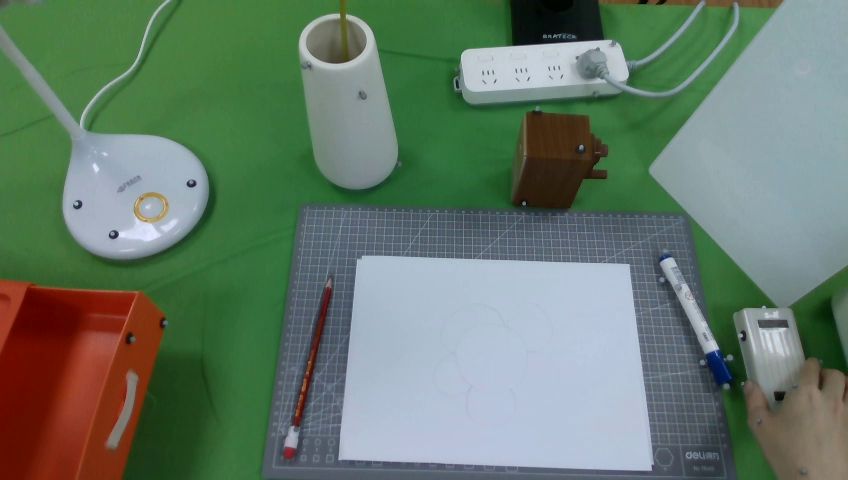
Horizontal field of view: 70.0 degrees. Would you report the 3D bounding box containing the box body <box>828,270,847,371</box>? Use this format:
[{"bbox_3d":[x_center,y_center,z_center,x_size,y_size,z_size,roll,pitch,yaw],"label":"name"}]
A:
[{"bbox_3d":[0.547,0.166,0.522,0.254,0.161,0.361,1,64,0],"label":"box body"}]

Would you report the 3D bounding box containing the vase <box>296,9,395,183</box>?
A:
[{"bbox_3d":[-0.084,-0.145,0.642,0.098,0.201,0.097,0,63,1],"label":"vase"}]

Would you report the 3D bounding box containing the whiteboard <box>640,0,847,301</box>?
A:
[{"bbox_3d":[0.416,-0.118,0.612,0.144,0.307,0.215,-21,64,-31],"label":"whiteboard"}]

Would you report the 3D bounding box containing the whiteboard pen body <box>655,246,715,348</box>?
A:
[{"bbox_3d":[0.280,0.070,0.640,0.017,0.017,0.139,-14,65,-7],"label":"whiteboard pen body"}]

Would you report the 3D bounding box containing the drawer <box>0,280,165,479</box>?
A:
[{"bbox_3d":[-0.359,0.131,0.523,0.212,0.074,0.193,4,65,2],"label":"drawer"}]

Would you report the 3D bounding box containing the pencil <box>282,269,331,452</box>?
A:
[{"bbox_3d":[-0.117,0.116,0.619,0.012,0.012,0.192,8,63,4],"label":"pencil"}]

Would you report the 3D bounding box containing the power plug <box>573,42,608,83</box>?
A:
[{"bbox_3d":[0.201,-0.210,0.744,0.035,0.053,0.072,5,66,2],"label":"power plug"}]

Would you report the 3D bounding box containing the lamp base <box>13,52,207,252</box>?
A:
[{"bbox_3d":[-0.340,-0.099,0.626,0.178,0.181,0.160,32,67,17],"label":"lamp base"}]

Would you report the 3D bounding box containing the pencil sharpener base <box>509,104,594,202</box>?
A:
[{"bbox_3d":[0.138,-0.093,0.672,0.077,0.108,0.061,3,64,1],"label":"pencil sharpener base"}]

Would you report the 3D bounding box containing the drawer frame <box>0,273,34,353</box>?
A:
[{"bbox_3d":[-0.465,0.122,0.522,0.214,0.083,0.200,7,65,-3],"label":"drawer frame"}]

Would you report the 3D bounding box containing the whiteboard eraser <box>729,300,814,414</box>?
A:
[{"bbox_3d":[0.347,0.117,0.610,0.055,0.042,0.112,2,64,-2],"label":"whiteboard eraser"}]

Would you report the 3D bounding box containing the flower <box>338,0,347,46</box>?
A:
[{"bbox_3d":[-0.076,-0.197,0.576,0.038,0.365,0.043,-10,46,-13],"label":"flower"}]

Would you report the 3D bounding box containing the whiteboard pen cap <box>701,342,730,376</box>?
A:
[{"bbox_3d":[0.294,0.120,0.613,0.018,0.018,0.033,-14,64,-7],"label":"whiteboard pen cap"}]

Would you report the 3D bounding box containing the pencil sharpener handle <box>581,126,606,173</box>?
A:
[{"bbox_3d":[0.189,-0.096,0.660,0.030,0.068,0.035,3,63,1],"label":"pencil sharpener handle"}]

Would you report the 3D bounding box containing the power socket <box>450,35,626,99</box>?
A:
[{"bbox_3d":[0.148,-0.222,0.775,0.227,0.033,0.071,-4,65,-3],"label":"power socket"}]
